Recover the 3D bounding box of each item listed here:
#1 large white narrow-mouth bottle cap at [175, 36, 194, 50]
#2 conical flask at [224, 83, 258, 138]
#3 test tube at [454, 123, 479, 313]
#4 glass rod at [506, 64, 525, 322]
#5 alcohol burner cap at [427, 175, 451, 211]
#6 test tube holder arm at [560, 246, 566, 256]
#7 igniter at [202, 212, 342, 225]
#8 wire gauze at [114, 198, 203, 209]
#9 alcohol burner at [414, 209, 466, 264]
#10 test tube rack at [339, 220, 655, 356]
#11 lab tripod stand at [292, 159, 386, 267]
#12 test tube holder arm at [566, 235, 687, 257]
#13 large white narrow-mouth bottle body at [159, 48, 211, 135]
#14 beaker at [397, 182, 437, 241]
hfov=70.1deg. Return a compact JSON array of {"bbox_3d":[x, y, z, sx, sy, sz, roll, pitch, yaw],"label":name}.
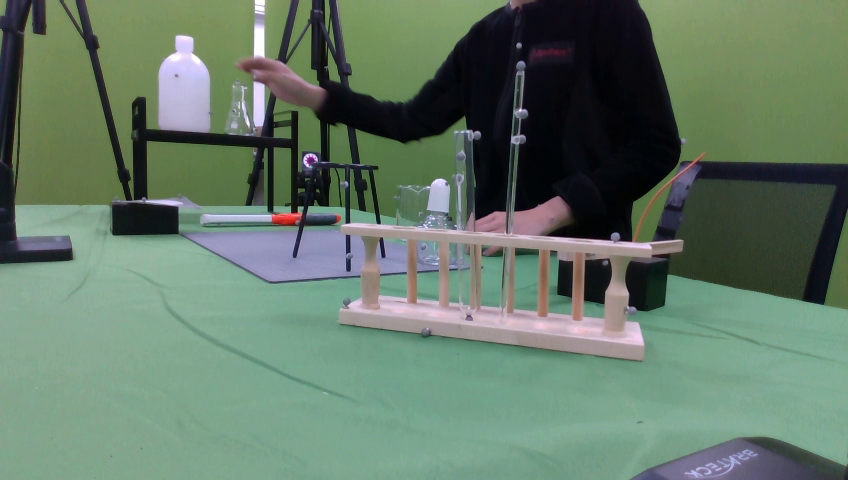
[{"bbox_3d":[-0.501,-0.410,1.264,0.038,0.024,0.037,2,7,0],"label":"large white narrow-mouth bottle cap"},{"bbox_3d":[-0.422,-0.299,1.395,0.075,0.122,0.075,2,7,0],"label":"conical flask"},{"bbox_3d":[0.034,-0.016,0.477,0.017,0.150,0.017,-2,9,1],"label":"test tube"},{"bbox_3d":[0.069,-0.030,0.458,0.008,0.199,0.008,0,15,0],"label":"glass rod"},{"bbox_3d":[0.023,-0.064,0.822,0.034,0.048,0.034,7,5,0],"label":"alcohol burner cap"},{"bbox_3d":[0.173,0.007,0.612,0.088,0.015,0.010,-3,9,-30],"label":"test tube holder arm"},{"bbox_3d":[-0.298,-0.044,1.216,0.278,0.025,0.057,-2,-2,-32],"label":"igniter"},{"bbox_3d":[-0.447,-0.062,1.015,0.126,0.011,0.121,-1,8,-31],"label":"wire gauze"},{"bbox_3d":[0.021,-0.028,0.826,0.078,0.119,0.078,0,6,0],"label":"alcohol burner"},{"bbox_3d":[0.056,0.032,0.495,0.242,0.085,0.067,4,7,15],"label":"test tube rack"},{"bbox_3d":[-0.105,-0.039,0.798,0.148,0.131,0.148,2,5,0],"label":"lab tripod stand"},{"bbox_3d":[0.215,0.006,0.630,0.179,0.015,0.013,-3,9,-31],"label":"test tube holder arm"},{"bbox_3d":[-0.503,-0.323,1.275,0.102,0.194,0.102,2,7,0],"label":"large white narrow-mouth bottle body"},{"bbox_3d":[-0.012,-0.050,1.072,0.074,0.100,0.084,1,8,-4],"label":"beaker"}]
